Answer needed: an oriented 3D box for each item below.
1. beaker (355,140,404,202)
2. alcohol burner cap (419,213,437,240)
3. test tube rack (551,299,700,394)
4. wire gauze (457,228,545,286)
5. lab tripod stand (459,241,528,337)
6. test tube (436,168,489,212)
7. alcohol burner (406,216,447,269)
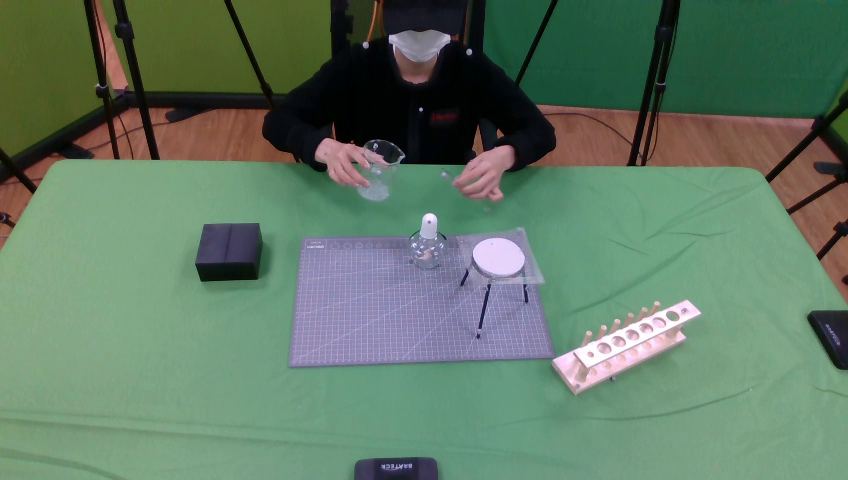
[{"bbox_3d":[-0.088,-0.129,1.155,0.084,0.100,0.073,0,47,-21],"label":"beaker"},{"bbox_3d":[0.009,-0.027,1.109,0.034,0.048,0.033,3,44,-3],"label":"alcohol burner cap"},{"bbox_3d":[0.339,0.166,1.021,0.242,0.085,0.066,-19,50,-21],"label":"test tube rack"},{"bbox_3d":[0.126,0.029,1.006,0.125,0.011,0.120,-4,46,-10],"label":"wire gauze"},{"bbox_3d":[0.122,0.075,1.054,0.148,0.132,0.147,3,44,-3],"label":"lab tripod stand"},{"bbox_3d":[0.078,-0.096,1.182,0.151,0.017,0.017,34,32,-37],"label":"test tube"},{"bbox_3d":[0.006,-0.002,1.134,0.078,0.120,0.077,2,48,-2],"label":"alcohol burner"}]
